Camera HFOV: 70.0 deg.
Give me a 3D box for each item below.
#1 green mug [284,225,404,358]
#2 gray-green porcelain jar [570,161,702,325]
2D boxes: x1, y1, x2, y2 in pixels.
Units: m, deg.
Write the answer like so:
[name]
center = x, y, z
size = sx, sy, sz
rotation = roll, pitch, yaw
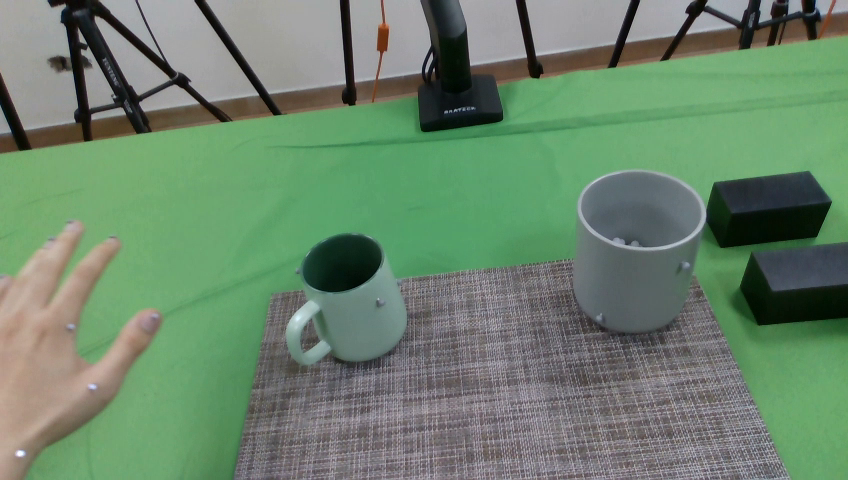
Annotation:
[green mug]
center = -0.081, 0.060, 0.576
size = 0.092, 0.106, 0.125
rotation = 26, 55, 30
[gray-green porcelain jar]
center = 0.190, 0.008, 0.562
size = 0.106, 0.128, 0.105
rotation = -5, 45, 6
